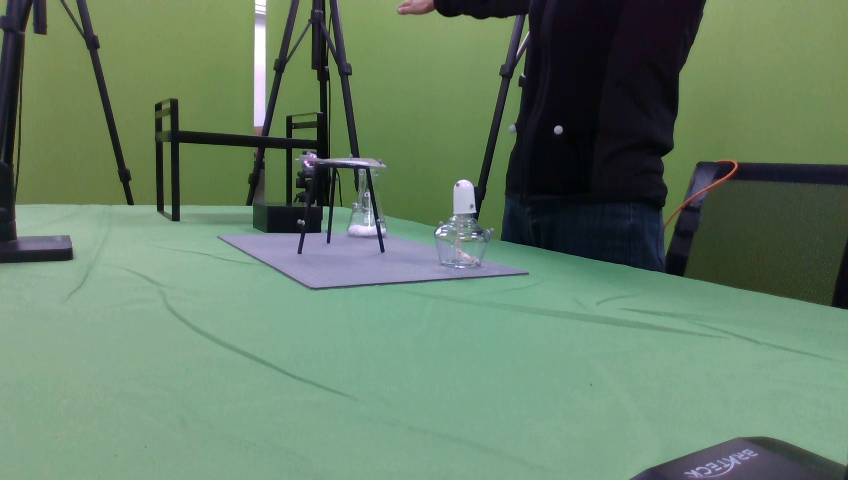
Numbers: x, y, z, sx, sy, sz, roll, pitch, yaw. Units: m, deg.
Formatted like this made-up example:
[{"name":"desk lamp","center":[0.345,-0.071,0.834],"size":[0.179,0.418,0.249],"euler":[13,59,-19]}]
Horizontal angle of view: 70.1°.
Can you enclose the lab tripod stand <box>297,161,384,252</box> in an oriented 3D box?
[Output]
[{"name":"lab tripod stand","center":[-0.130,-0.051,0.903],"size":[0.148,0.131,0.148],"euler":[3,9,0]}]

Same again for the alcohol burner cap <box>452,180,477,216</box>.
[{"name":"alcohol burner cap","center":[0.054,-0.057,0.811],"size":[0.034,0.048,0.034],"euler":[-3,6,1]}]

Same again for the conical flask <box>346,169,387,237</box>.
[{"name":"conical flask","center":[-0.103,-0.068,1.091],"size":[0.075,0.122,0.075],"euler":[2,7,0]}]

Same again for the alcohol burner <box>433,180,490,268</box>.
[{"name":"alcohol burner","center":[0.052,-0.021,0.815],"size":[0.078,0.119,0.078],"euler":[4,7,0]}]

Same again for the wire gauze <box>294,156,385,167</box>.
[{"name":"wire gauze","center":[-0.128,-0.118,0.901],"size":[0.125,0.011,0.121],"euler":[0,8,-14]}]
